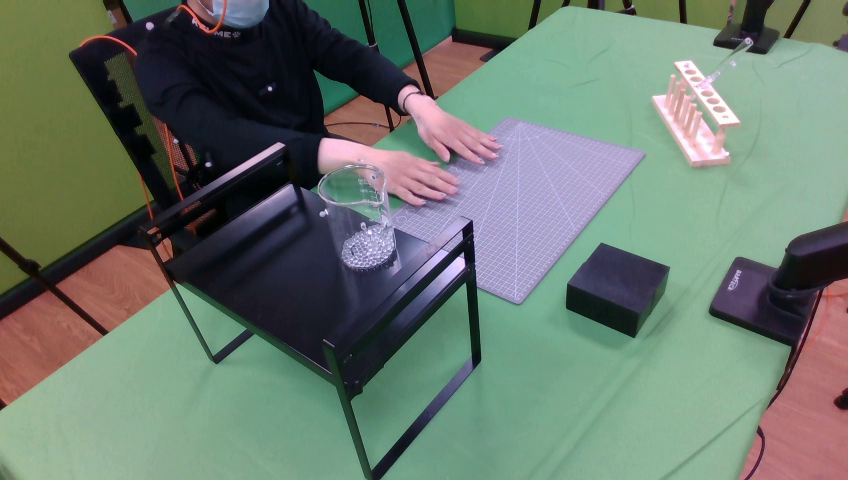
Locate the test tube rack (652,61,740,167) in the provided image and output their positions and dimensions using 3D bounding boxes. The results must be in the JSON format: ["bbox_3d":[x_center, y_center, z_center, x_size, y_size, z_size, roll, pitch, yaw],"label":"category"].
[{"bbox_3d":[0.499,-0.242,1.130,0.067,0.085,0.241,-5,41,3],"label":"test tube rack"}]

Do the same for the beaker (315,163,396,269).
[{"bbox_3d":[-0.070,-0.024,0.671,0.083,0.101,0.074,27,52,32],"label":"beaker"}]

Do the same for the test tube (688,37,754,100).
[{"bbox_3d":[0.526,-0.302,1.077,0.017,0.150,0.017,10,58,-16],"label":"test tube"}]
